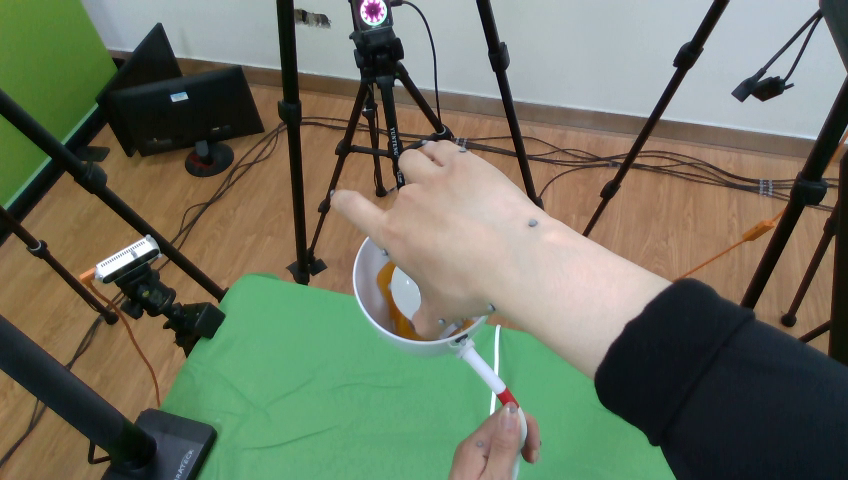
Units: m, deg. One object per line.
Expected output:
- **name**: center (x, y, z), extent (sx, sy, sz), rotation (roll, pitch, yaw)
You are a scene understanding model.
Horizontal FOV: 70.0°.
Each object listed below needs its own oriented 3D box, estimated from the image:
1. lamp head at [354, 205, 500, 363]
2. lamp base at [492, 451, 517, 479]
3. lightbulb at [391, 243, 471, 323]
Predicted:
- **lamp head**: center (0.006, 0.049, 0.501), extent (0.112, 0.124, 0.111), rotation (-2, 60, 4)
- **lamp base**: center (0.106, 0.309, 0.642), extent (0.161, 0.182, 0.177), rotation (-22, 51, -12)
- **lightbulb**: center (0.004, 0.038, 0.472), extent (0.059, 0.108, 0.059), rotation (1, 74, -4)
